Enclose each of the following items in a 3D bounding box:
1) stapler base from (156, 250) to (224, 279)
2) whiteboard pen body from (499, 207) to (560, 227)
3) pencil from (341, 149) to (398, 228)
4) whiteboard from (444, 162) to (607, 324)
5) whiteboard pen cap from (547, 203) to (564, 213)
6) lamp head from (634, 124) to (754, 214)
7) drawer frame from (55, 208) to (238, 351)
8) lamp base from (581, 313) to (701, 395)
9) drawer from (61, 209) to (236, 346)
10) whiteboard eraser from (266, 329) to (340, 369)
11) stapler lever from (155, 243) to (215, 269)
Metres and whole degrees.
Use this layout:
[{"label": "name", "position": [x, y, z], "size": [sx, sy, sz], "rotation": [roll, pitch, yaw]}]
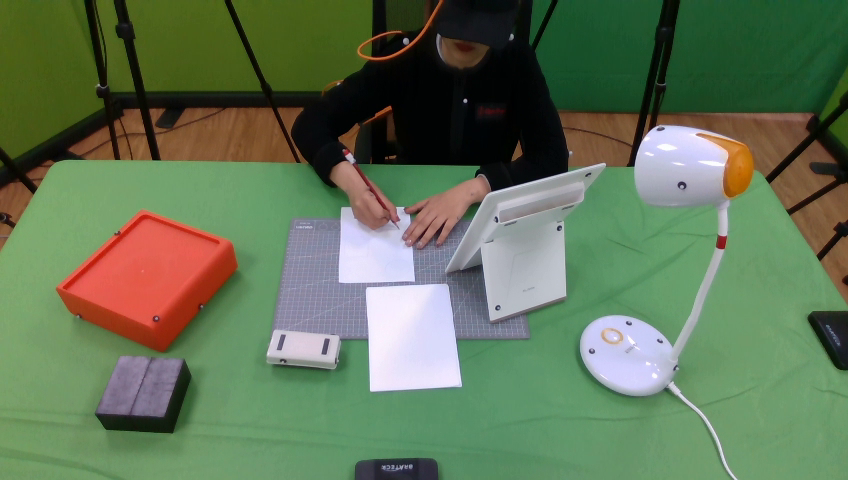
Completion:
[{"label": "stapler base", "position": [-0.431, 0.040, 1.110], "size": [0.130, 0.024, 0.041], "rotation": [11, 38, 17]}, {"label": "whiteboard pen body", "position": [0.222, -0.051, 1.259], "size": [0.141, 0.017, 0.017], "rotation": [-15, 49, -16]}, {"label": "pencil", "position": [-0.104, -0.098, 1.189], "size": [0.012, 0.195, 0.012], "rotation": [-29, 22, 13]}, {"label": "whiteboard", "position": [0.186, 0.025, 1.029], "size": [0.217, 0.306, 0.143], "rotation": [-15, 68, -18]}, {"label": "whiteboard pen cap", "position": [0.277, -0.066, 1.275], "size": [0.033, 0.018, 0.018], "rotation": [-18, 50, -15]}, {"label": "lamp head", "position": [0.351, -0.089, 0.776], "size": [0.112, 0.113, 0.122], "rotation": [-30, 30, -28]}, {"label": "drawer frame", "position": [-0.474, 0.062, 1.059], "size": [0.201, 0.083, 0.213], "rotation": [18, 48, 12]}, {"label": "lamp base", "position": [0.361, 0.144, 0.973], "size": [0.178, 0.181, 0.160], "rotation": [34, 53, 23]}, {"label": "drawer", "position": [-0.474, 0.061, 1.062], "size": [0.194, 0.073, 0.211], "rotation": [19, 48, 13]}, {"label": "whiteboard eraser", "position": [-0.198, 0.181, 0.994], "size": [0.113, 0.042, 0.055], "rotation": [5, 45, 1]}, {"label": "stapler lever", "position": [-0.433, 0.023, 1.097], "size": [0.118, 0.040, 0.026], "rotation": [14, 39, 14]}]
